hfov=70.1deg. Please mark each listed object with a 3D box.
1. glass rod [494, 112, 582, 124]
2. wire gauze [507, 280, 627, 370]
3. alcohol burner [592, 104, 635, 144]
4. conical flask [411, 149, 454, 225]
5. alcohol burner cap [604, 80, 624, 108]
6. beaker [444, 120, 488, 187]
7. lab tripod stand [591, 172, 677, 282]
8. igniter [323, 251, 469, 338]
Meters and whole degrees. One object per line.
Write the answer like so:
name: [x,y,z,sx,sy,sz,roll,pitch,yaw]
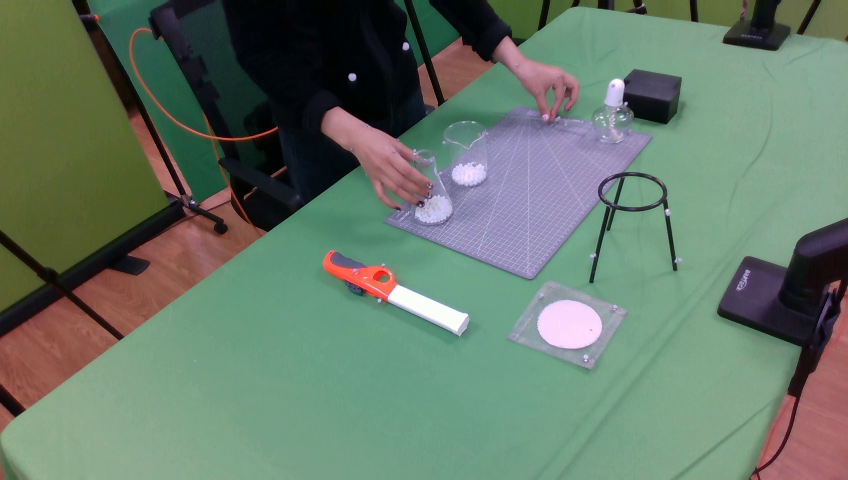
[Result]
glass rod: [0.229,-0.249,1.235,0.198,0.008,0.008,15,46,35]
wire gauze: [0.196,0.114,0.823,0.120,0.011,0.125,20,50,31]
alcohol burner: [0.353,-0.242,1.126,0.078,0.119,0.077,-5,38,5]
conical flask: [0.009,-0.091,1.007,0.075,0.122,0.075,-5,40,5]
alcohol burner cap: [0.350,-0.269,1.102,0.034,0.048,0.033,-2,46,2]
beaker: [0.078,-0.150,1.083,0.074,0.101,0.083,-9,41,1]
lab tripod stand: [0.292,-0.022,0.867,0.148,0.132,0.147,-7,39,6]
igniter: [-0.052,0.075,0.901,0.274,0.025,0.057,22,60,32]
